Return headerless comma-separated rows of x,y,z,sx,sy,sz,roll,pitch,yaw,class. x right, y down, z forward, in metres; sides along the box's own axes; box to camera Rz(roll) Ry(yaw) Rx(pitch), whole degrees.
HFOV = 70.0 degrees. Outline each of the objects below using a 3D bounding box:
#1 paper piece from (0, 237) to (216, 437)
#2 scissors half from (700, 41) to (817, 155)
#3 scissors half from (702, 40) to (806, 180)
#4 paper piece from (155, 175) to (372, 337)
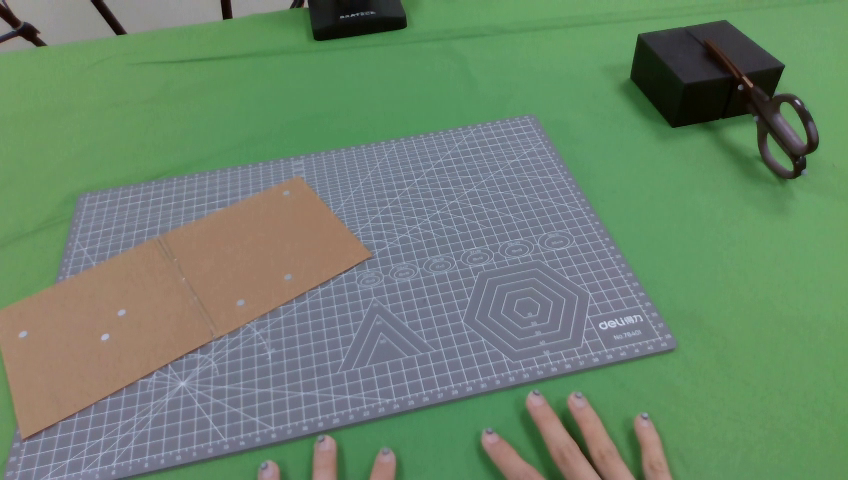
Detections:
-0.245,0.063,0.459,0.136,0.004,0.134,-28,50,-21,paper piece
0.296,-0.138,0.547,0.013,0.040,0.173,-19,45,1,scissors half
0.299,-0.126,0.563,0.013,0.040,0.173,-15,63,-3,scissors half
-0.136,0.005,0.509,0.138,0.009,0.134,-27,54,-22,paper piece
